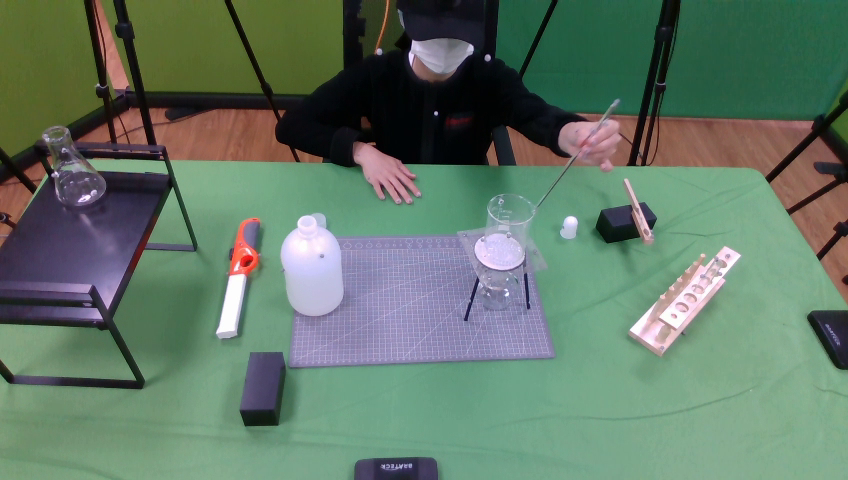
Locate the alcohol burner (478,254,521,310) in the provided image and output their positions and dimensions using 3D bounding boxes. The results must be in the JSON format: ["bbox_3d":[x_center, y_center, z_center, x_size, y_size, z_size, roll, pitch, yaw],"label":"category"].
[{"bbox_3d":[0.134,0.068,1.071,0.078,0.120,0.077,0,47,0],"label":"alcohol burner"}]

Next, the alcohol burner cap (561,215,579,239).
[{"bbox_3d":[0.299,-0.030,1.231,0.034,0.048,0.033,0,46,0],"label":"alcohol burner cap"}]

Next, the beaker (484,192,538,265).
[{"bbox_3d":[0.137,-0.016,0.980,0.084,0.101,0.073,-6,45,-9],"label":"beaker"}]

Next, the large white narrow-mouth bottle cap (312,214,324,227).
[{"bbox_3d":[-0.219,-0.033,1.214,0.038,0.024,0.037,2,46,-2],"label":"large white narrow-mouth bottle cap"}]

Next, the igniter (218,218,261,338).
[{"bbox_3d":[-0.336,0.060,1.111,0.057,0.025,0.274,-8,46,4],"label":"igniter"}]

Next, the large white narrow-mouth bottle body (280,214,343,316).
[{"bbox_3d":[-0.190,0.035,1.025,0.102,0.195,0.101,2,46,-2],"label":"large white narrow-mouth bottle body"}]

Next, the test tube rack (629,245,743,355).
[{"bbox_3d":[0.474,0.095,1.091,0.242,0.085,0.066,-34,56,-31],"label":"test tube rack"}]

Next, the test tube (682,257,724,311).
[{"bbox_3d":[0.475,0.080,1.037,0.017,0.151,0.017,2,50,-2],"label":"test tube"}]

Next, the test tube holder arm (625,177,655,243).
[{"bbox_3d":[0.433,-0.062,1.220,0.013,0.015,0.177,2,47,-3],"label":"test tube holder arm"}]

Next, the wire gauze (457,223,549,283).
[{"bbox_3d":[0.131,0.016,1.017,0.121,0.011,0.124,-10,44,-16],"label":"wire gauze"}]

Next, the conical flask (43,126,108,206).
[{"bbox_3d":[-0.555,-0.119,0.953,0.075,0.122,0.075,2,46,-2],"label":"conical flask"}]

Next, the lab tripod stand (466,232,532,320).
[{"bbox_3d":[0.125,0.059,1.065,0.148,0.132,0.147,1,45,0],"label":"lab tripod stand"}]

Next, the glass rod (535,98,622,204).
[{"bbox_3d":[0.225,-0.126,0.894,0.008,0.200,0.008,25,32,-17],"label":"glass rod"}]

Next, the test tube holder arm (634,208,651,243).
[{"bbox_3d":[0.428,-0.030,1.189,0.010,0.015,0.087,2,47,-3],"label":"test tube holder arm"}]
